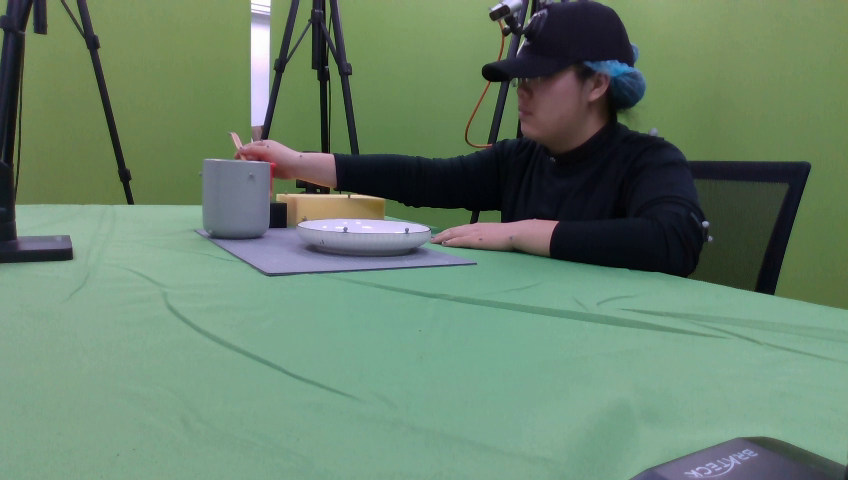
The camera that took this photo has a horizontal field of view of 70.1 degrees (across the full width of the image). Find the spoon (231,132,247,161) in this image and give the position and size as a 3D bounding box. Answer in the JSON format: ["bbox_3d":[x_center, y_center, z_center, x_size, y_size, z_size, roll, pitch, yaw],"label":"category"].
[{"bbox_3d":[-0.355,-0.153,1.202,0.042,0.193,0.021,-9,-34,-28],"label":"spoon"}]

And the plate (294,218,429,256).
[{"bbox_3d":[-0.096,-0.005,0.936,0.208,0.039,0.207,3,7,0],"label":"plate"}]

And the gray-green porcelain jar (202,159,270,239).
[{"bbox_3d":[-0.310,-0.068,0.999,0.106,0.126,0.106,3,8,0],"label":"gray-green porcelain jar"}]

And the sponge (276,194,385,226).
[{"bbox_3d":[-0.202,-0.067,1.312,0.208,0.061,0.117,-3,9,-35],"label":"sponge"}]
